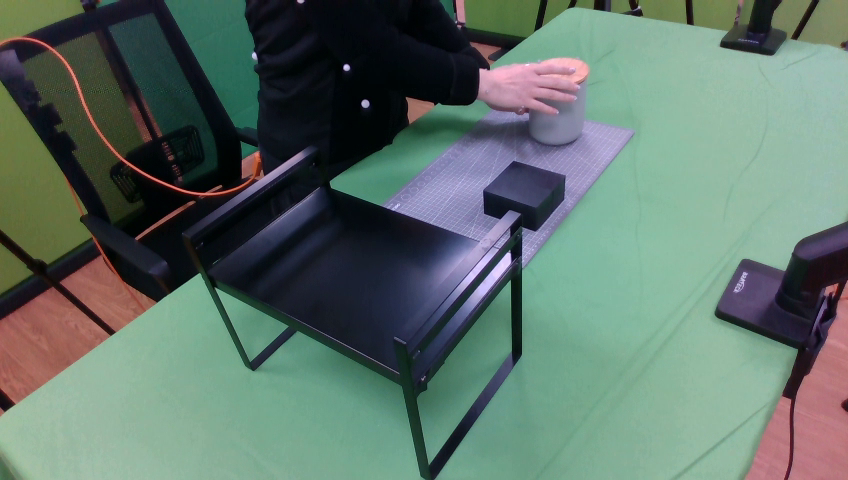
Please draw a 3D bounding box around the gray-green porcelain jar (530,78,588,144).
[{"bbox_3d":[0.254,-0.256,1.151,0.106,0.127,0.105,-4,41,4],"label":"gray-green porcelain jar"}]

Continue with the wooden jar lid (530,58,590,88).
[{"bbox_3d":[0.249,-0.302,1.110,0.108,0.021,0.108,-6,40,6],"label":"wooden jar lid"}]
